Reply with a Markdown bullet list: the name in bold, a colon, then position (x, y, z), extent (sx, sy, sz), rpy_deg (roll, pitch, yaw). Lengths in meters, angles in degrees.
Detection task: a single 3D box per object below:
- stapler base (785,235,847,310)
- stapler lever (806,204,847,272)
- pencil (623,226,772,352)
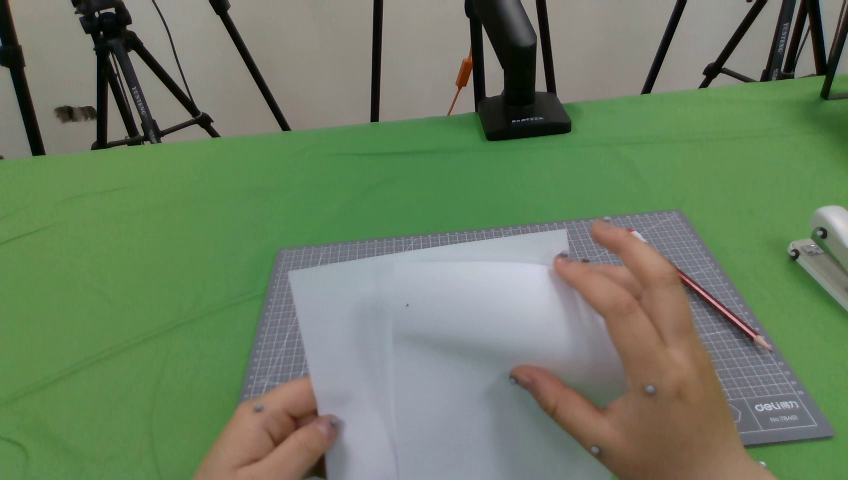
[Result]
- **stapler base**: position (0.387, 0.031, 0.554), extent (0.041, 0.024, 0.129), rpy_deg (-10, 38, -2)
- **stapler lever**: position (0.385, 0.012, 0.537), extent (0.027, 0.040, 0.117), rpy_deg (-10, 39, -2)
- **pencil**: position (0.248, 0.040, 0.566), extent (0.012, 0.012, 0.192), rpy_deg (-17, 39, -15)
